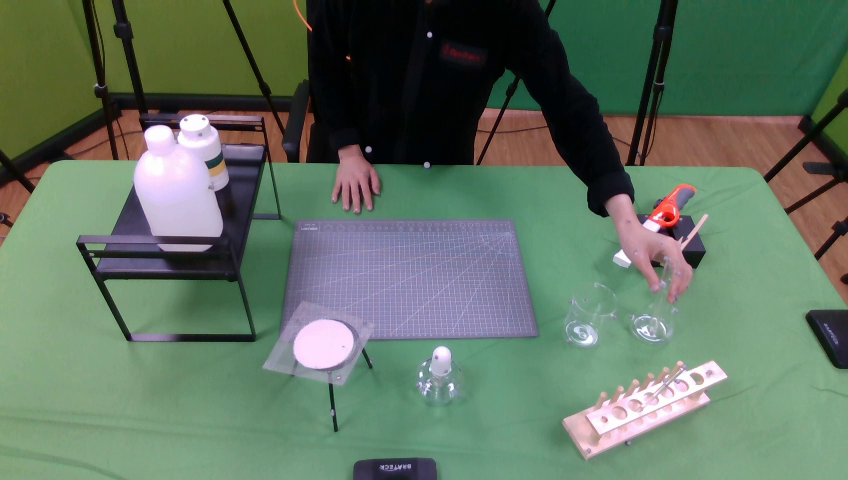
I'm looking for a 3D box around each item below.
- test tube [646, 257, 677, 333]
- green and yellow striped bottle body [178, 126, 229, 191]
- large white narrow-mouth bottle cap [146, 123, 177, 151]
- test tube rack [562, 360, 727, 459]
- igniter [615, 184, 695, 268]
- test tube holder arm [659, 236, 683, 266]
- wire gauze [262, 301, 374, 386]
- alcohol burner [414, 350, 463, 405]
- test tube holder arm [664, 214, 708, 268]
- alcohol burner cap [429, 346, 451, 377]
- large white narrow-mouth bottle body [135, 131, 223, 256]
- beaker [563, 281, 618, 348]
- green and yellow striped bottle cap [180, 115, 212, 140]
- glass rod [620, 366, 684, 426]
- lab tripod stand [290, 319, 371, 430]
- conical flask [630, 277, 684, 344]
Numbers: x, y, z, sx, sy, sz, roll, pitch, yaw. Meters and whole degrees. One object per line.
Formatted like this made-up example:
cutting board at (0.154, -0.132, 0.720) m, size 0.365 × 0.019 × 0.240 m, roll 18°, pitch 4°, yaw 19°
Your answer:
test tube at (0.338, 0.082, 0.868) m, size 0.017 × 0.151 × 0.017 m, roll -3°, pitch 42°, yaw 3°
green and yellow striped bottle body at (-0.361, -0.142, 0.989) m, size 0.063 × 0.120 × 0.063 m, roll 2°, pitch 46°, yaw -2°
large white narrow-mouth bottle cap at (-0.354, -0.138, 0.815) m, size 0.038 × 0.024 × 0.037 m, roll 2°, pitch 44°, yaw -1°
test tube rack at (0.341, 0.247, 0.940) m, size 0.243 × 0.085 × 0.066 m, roll -16°, pitch 49°, yaw -18°
igniter at (0.460, -0.035, 1.196) m, size 0.057 × 0.025 × 0.276 m, roll 33°, pitch 56°, yaw 27°
test tube holder arm at (0.472, 0.020, 1.149) m, size 0.010 × 0.015 × 0.088 m, roll 36°, pitch 54°, yaw 27°
wire gauze at (-0.150, 0.148, 0.873) m, size 0.121 × 0.011 × 0.124 m, roll 14°, pitch 46°, yaw 12°
alcohol burner at (0.023, 0.205, 0.939) m, size 0.078 × 0.120 × 0.077 m, roll 1°, pitch 47°, yaw -1°
test tube holder arm at (0.507, -0.001, 1.170) m, size 0.013 × 0.015 × 0.178 m, roll 35°, pitch 54°, yaw 26°
alcohol burner cap at (0.026, 0.180, 0.912) m, size 0.034 × 0.048 × 0.033 m, roll 1°, pitch 47°, yaw -1°
large white narrow-mouth bottle body at (-0.358, -0.075, 0.875) m, size 0.102 × 0.195 × 0.101 m, roll 2°, pitch 44°, yaw -1°
beaker at (0.283, 0.129, 1.041) m, size 0.074 × 0.101 × 0.083 m, roll 11°, pitch 46°, yaw 7°
green and yellow striped bottle cap at (-0.358, -0.177, 0.951) m, size 0.045 × 0.020 × 0.045 m, roll 1°, pitch 45°, yaw -1°
glass rod at (0.323, 0.227, 0.866) m, size 0.008 × 0.200 × 0.008 m, roll 5°, pitch 51°, yaw -6°
lab tripod stand at (-0.146, 0.194, 0.923) m, size 0.148 × 0.132 × 0.147 m, roll 1°, pitch 47°, yaw -1°
conical flask at (0.408, 0.117, 1.045) m, size 0.075 × 0.122 × 0.075 m, roll 2°, pitch 46°, yaw -2°
